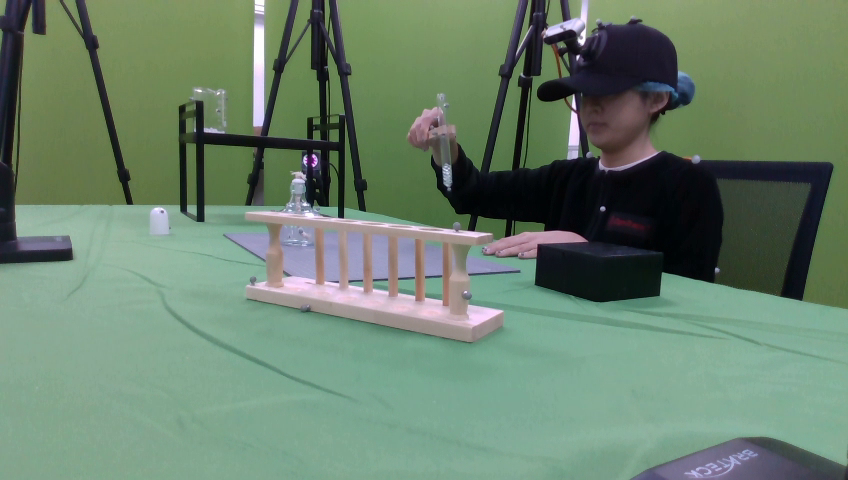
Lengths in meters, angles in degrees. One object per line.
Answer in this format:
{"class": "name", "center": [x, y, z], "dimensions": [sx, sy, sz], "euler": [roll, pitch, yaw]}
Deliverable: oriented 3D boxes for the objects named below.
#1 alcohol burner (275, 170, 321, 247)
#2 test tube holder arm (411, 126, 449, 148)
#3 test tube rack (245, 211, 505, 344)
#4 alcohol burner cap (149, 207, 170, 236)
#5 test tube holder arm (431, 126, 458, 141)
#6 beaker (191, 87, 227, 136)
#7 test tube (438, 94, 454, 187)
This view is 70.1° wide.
{"class": "alcohol burner", "center": [-0.199, -0.050, 0.948], "dimensions": [0.078, 0.119, 0.078], "euler": [1, 7, 0]}
{"class": "test tube holder arm", "center": [0.007, -0.175, 1.035], "dimensions": [0.013, 0.015, 0.178], "euler": [-2, 2, -20]}
{"class": "test tube rack", "center": [-0.049, 0.025, 0.547], "dimensions": [0.241, 0.085, 0.067], "euler": [7, 8, 29]}
{"class": "alcohol burner cap", "center": [-0.445, -0.032, 1.019], "dimensions": [0.034, 0.048, 0.034], "euler": [4, 8, 0]}
{"class": "test tube holder arm", "center": [0.029, -0.175, 0.996], "dimensions": [0.010, 0.015, 0.087], "euler": [-2, 2, -27]}
{"class": "beaker", "center": [-0.475, -0.284, 1.345], "dimensions": [0.074, 0.100, 0.083], "euler": [-3, 10, -37]}
{"class": "test tube", "center": [0.035, -0.160, 0.974], "dimensions": [0.017, 0.150, 0.017], "euler": [-5, 1, 0]}
